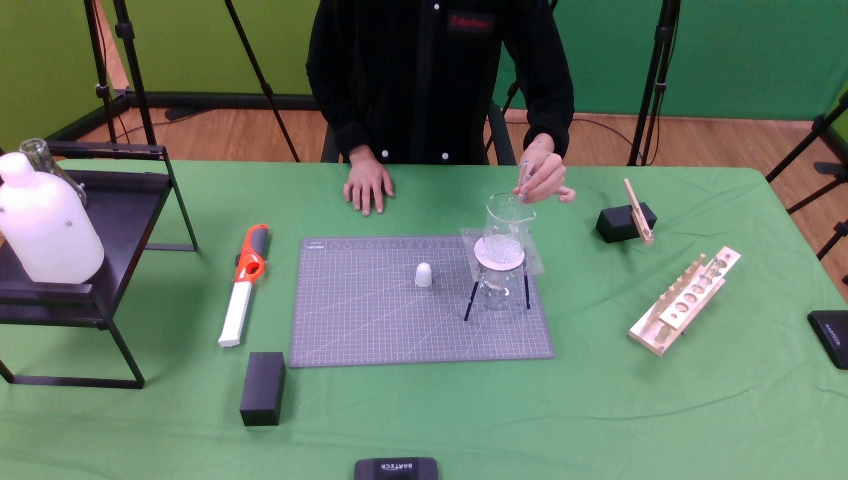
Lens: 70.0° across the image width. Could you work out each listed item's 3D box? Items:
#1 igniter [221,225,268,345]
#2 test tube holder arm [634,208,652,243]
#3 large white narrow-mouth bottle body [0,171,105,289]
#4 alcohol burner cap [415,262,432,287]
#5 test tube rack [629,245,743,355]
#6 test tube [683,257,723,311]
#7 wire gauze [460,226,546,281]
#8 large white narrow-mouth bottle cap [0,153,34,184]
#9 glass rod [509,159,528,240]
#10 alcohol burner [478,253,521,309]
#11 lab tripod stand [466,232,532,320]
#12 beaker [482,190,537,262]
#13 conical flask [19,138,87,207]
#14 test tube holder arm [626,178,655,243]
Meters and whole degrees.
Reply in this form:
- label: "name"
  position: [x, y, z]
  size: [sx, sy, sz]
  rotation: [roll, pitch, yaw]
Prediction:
- label: "igniter"
  position: [-0.323, 0.072, 1.100]
  size: [0.057, 0.025, 0.274]
  rotation: [-6, 45, 5]
- label: "test tube holder arm"
  position: [0.428, -0.030, 1.189]
  size: [0.010, 0.015, 0.087]
  rotation: [3, 47, -3]
- label: "large white narrow-mouth bottle body"
  position: [-0.513, -0.029, 0.818]
  size: [0.102, 0.195, 0.101]
  rotation: [2, 46, -2]
- label: "alcohol burner cap"
  position: [0.000, 0.061, 1.119]
  size: [0.034, 0.048, 0.033]
  rotation: [2, 45, -2]
- label: "test tube rack"
  position: [0.474, 0.095, 1.091]
  size: [0.242, 0.085, 0.066]
  rotation: [-34, 56, -31]
- label: "test tube"
  position: [0.475, 0.080, 1.037]
  size: [0.017, 0.151, 0.017]
  rotation: [1, 51, -1]
- label: "wire gauze"
  position: [0.130, 0.017, 1.016]
  size: [0.121, 0.011, 0.124]
  rotation: [-3, 42, -9]
- label: "large white narrow-mouth bottle cap"
  position: [-0.510, -0.089, 0.755]
  size: [0.038, 0.024, 0.037]
  rotation: [2, 46, -2]
- label: "glass rod"
  position: [0.147, -0.058, 0.946]
  size: [0.008, 0.201, 0.008]
  rotation: [0, 56, 0]
- label: "alcohol burner"
  position: [0.134, 0.067, 1.072]
  size: [0.078, 0.120, 0.077]
  rotation: [0, 47, 0]
- label: "lab tripod stand"
  position: [0.125, 0.060, 1.065]
  size: [0.148, 0.132, 0.147]
  rotation: [1, 45, 0]
- label: "beaker"
  position: [0.136, -0.019, 0.983]
  size: [0.084, 0.101, 0.073]
  rotation: [17, 47, 14]
- label: "conical flask"
  position: [-0.576, -0.097, 0.930]
  size: [0.075, 0.122, 0.075]
  rotation: [2, 46, -2]
- label: "test tube holder arm"
  position: [0.434, -0.063, 1.220]
  size: [0.013, 0.015, 0.177]
  rotation: [3, 47, -4]
